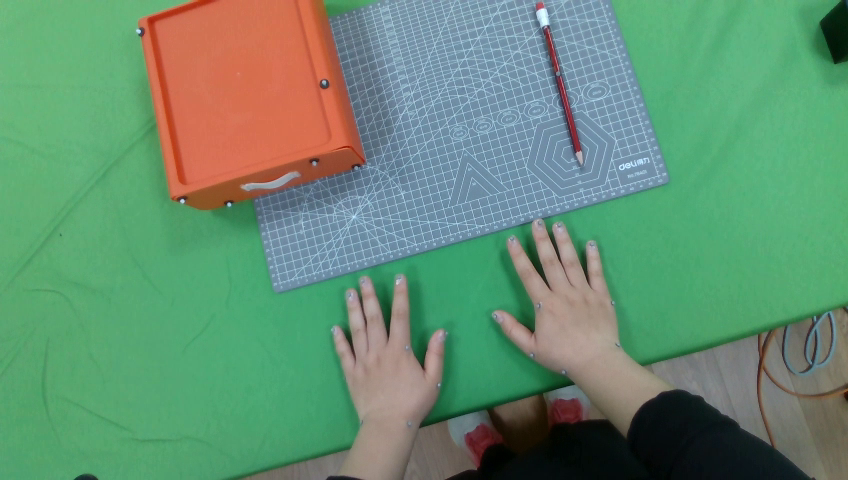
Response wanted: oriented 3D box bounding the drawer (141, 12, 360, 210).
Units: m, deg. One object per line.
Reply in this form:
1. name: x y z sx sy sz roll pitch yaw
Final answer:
1. drawer: -0.192 -0.159 0.672 0.194 0.073 0.211 -16 80 6

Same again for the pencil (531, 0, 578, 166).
1. pencil: 0.145 -0.174 0.668 0.012 0.012 0.193 -14 84 6

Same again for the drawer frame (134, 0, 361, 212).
1. drawer frame: -0.195 -0.160 0.671 0.201 0.083 0.212 -17 80 6
